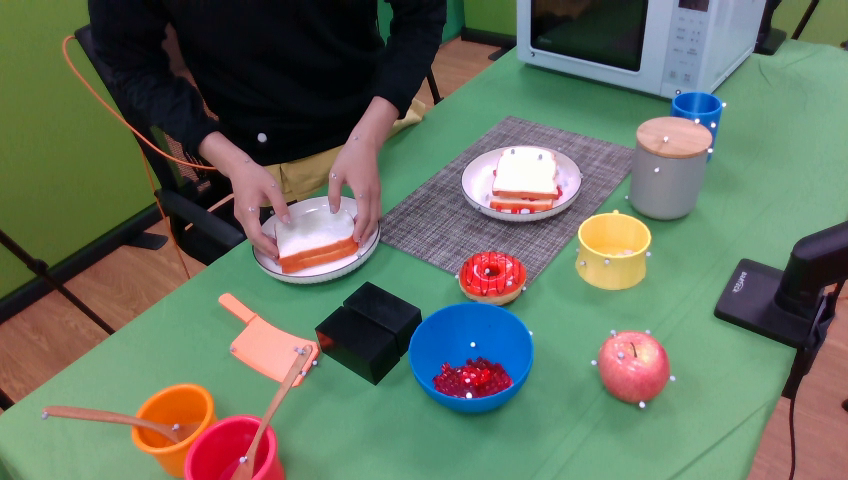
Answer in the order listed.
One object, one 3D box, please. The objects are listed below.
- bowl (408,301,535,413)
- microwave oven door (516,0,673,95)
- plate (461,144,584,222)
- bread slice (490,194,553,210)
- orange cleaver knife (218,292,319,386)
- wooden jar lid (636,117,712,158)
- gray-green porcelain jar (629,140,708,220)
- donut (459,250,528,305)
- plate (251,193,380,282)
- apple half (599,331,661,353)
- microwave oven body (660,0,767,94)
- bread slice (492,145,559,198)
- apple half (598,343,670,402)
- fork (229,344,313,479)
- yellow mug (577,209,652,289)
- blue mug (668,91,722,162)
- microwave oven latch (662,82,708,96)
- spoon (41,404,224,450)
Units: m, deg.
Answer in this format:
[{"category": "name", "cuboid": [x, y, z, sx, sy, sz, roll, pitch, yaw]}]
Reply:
[{"category": "bowl", "cuboid": [0.060, 0.156, 0.739, 0.151, 0.077, 0.150, -4, 40, 4]}, {"category": "microwave oven door", "cuboid": [0.344, -0.458, 1.255, 0.353, 0.245, 0.039, 26, 51, 33]}, {"category": "plate", "cuboid": [0.168, -0.095, 1.040, 0.207, 0.039, 0.206, -4, 40, 4]}, {"category": "bread slice", "cuboid": [0.173, -0.099, 1.047, 0.104, 0.019, 0.131, 2, 43, 12]}, {"category": "orange cleaver knife", "cuboid": [-0.235, 0.136, 0.850, 0.209, 0.012, 0.077, 25, 57, 30]}, {"category": "wooden jar lid", "cuboid": [0.377, -0.151, 0.917, 0.108, 0.021, 0.108, -2, 42, 3]}, {"category": "gray-green porcelain jar", "cuboid": [0.383, -0.104, 0.958, 0.106, 0.127, 0.105, -4, 41, 4]}, {"category": "donut", "cuboid": [0.100, 0.053, 0.872, 0.099, 0.048, 0.098, -5, 40, 4]}, {"category": "plate", "cuboid": [-0.173, -0.001, 0.984, 0.209, 0.038, 0.208, -4, 40, 3]}, {"category": "apple half", "cuboid": [0.249, 0.134, 0.738, 0.081, 0.081, 0.032, -1, 46, 7]}, {"category": "microwave oven body", "cuboid": [0.474, -0.517, 1.313, 0.438, 0.261, 0.327, 26, 51, 34]}, {"category": "bread slice", "cuboid": [0.172, -0.118, 1.027, 0.107, 0.018, 0.134, 3, 43, 7]}, {"category": "apple half", "cuboid": [0.247, 0.161, 0.710, 0.081, 0.075, 0.053, 2, 47, 5]}, {"category": "fork", "cuboid": [-0.173, 0.205, 0.662, 0.028, 0.019, 0.207, 29, 94, 36]}, {"category": "yellow mug", "cuboid": [0.280, 0.005, 0.893, 0.099, 0.064, 0.130, 5, 41, 15]}, {"category": "blue mug", "cuboid": [0.474, -0.206, 1.078, 0.082, 0.106, 0.116, 4, 42, 13]}, {"category": "microwave oven latch", "cuboid": [0.518, -0.298, 1.203, 0.078, 0.029, 0.030, 29, 53, 35]}, {"category": "spoon", "cuboid": [-0.321, 0.206, 0.681, 0.021, 0.195, 0.041, -48, 36, 22]}]
